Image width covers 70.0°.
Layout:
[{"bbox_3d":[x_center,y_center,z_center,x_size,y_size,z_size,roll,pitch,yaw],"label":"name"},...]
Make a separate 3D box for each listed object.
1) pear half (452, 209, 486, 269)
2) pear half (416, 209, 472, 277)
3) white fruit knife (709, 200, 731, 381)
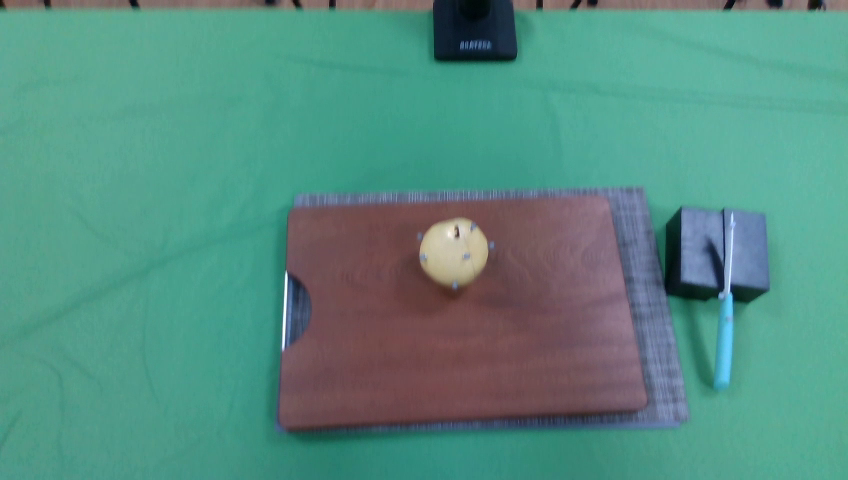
[{"bbox_3d":[0.053,-0.007,0.681,0.031,0.088,0.070,-23,65,-10],"label":"pear half"},{"bbox_3d":[0.020,0.001,0.666,0.056,0.110,0.075,-22,66,-9],"label":"pear half"},{"bbox_3d":[0.338,0.058,0.688,0.016,0.027,0.207,4,89,8],"label":"white fruit knife"}]
